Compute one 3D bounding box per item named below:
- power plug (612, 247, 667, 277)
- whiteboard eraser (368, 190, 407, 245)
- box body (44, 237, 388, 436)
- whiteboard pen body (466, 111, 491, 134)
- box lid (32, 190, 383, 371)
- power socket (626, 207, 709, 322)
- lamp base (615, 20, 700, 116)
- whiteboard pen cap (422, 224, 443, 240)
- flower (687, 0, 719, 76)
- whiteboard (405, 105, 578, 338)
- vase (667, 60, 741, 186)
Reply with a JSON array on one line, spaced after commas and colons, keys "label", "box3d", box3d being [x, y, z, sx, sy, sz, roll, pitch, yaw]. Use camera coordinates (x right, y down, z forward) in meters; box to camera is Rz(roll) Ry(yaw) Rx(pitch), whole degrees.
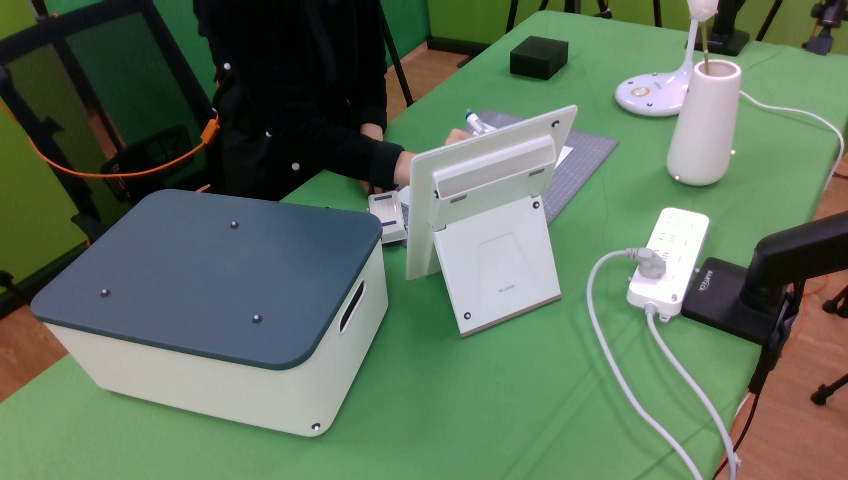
[{"label": "power plug", "box3d": [0.306, 0.031, 0.852, 0.072, 0.053, 0.035, 21, 48, 38]}, {"label": "whiteboard eraser", "box3d": [-0.061, -0.035, 1.006, 0.056, 0.042, 0.112, -9, 40, -3]}, {"label": "box body", "box3d": [-0.251, 0.088, 0.799, 0.362, 0.161, 0.254, 7, 42, 16]}, {"label": "whiteboard pen body", "box3d": [0.105, -0.131, 0.851, 0.017, 0.017, 0.140, -29, 68, -24]}, {"label": "box lid", "box3d": [-0.257, 0.032, 0.750, 0.370, 0.015, 0.263, 7, 41, 16]}, {"label": "power socket", "box3d": [0.360, 0.026, 0.886, 0.072, 0.033, 0.227, 17, 46, 27]}, {"label": "lamp base", "box3d": [0.484, -0.364, 1.211, 0.180, 0.181, 0.159, -15, 41, -14]}, {"label": "whiteboard pen cap", "box3d": [0.013, -0.013, 0.988, 0.033, 0.018, 0.018, -30, 46, -21]}, {"label": "flower", "box3d": [0.436, -0.242, 0.934, 0.038, 0.364, 0.043, -24, 49, 9]}, {"label": "whiteboard", "box3d": [0.102, 0.003, 0.787, 0.218, 0.306, 0.143, -19, 62, -14]}, {"label": "vase", "box3d": [0.463, -0.189, 0.994, 0.098, 0.201, 0.097, -4, 40, 4]}]
